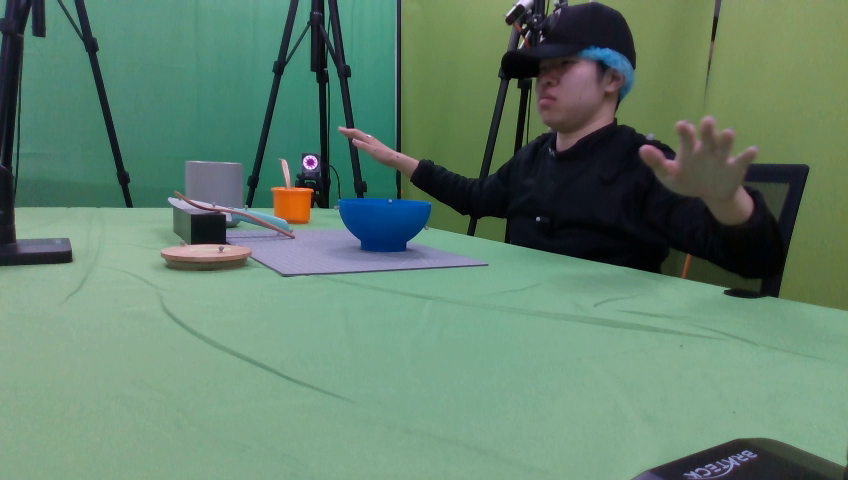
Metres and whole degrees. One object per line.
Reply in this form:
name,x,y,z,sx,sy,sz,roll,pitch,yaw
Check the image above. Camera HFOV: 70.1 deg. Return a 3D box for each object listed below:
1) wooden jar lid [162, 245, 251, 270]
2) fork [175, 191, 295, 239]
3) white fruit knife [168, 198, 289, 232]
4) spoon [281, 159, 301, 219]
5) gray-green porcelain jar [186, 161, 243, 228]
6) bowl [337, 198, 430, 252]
wooden jar lid,-0.278,0.022,0.777,0.108,0.020,0.108,2,6,0
fork,-0.305,-0.039,0.993,0.208,0.018,0.028,19,-9,-34
white fruit knife,-0.329,-0.044,1.036,0.208,0.027,0.016,14,-1,-32
spoon,-0.307,-0.117,1.368,0.042,0.193,0.021,1,-38,-23
gray-green porcelain jar,-0.412,-0.090,1.193,0.106,0.126,0.106,2,7,0
bowl,-0.066,-0.024,0.967,0.151,0.077,0.151,3,7,0
